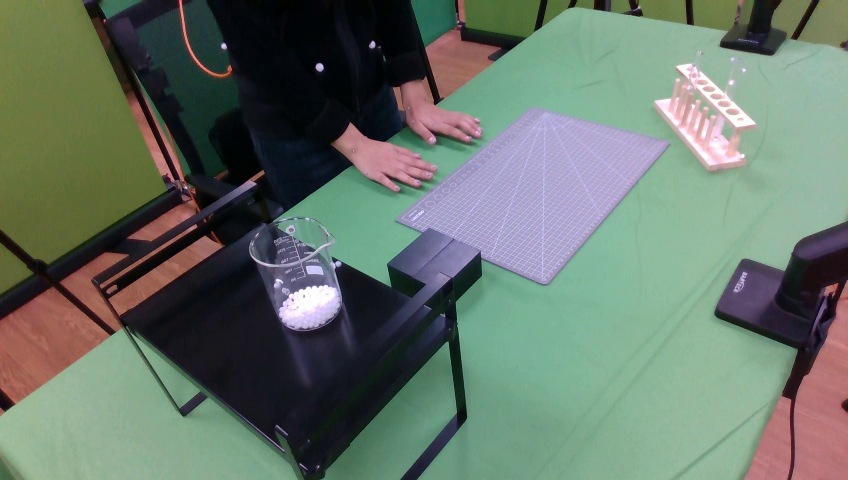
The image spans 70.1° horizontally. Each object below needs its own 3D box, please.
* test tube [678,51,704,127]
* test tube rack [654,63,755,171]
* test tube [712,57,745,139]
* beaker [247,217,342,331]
[{"bbox_3d":[0.486,-0.273,1.100,0.017,0.151,0.017,-3,42,3],"label":"test tube"},{"bbox_3d":[0.510,-0.233,1.120,0.067,0.085,0.241,-8,41,-1],"label":"test tube rack"},{"bbox_3d":[0.529,-0.244,1.054,0.017,0.151,0.017,-1,39,1],"label":"test tube"},{"bbox_3d":[-0.124,0.037,0.614,0.084,0.101,0.073,-7,41,0],"label":"beaker"}]
